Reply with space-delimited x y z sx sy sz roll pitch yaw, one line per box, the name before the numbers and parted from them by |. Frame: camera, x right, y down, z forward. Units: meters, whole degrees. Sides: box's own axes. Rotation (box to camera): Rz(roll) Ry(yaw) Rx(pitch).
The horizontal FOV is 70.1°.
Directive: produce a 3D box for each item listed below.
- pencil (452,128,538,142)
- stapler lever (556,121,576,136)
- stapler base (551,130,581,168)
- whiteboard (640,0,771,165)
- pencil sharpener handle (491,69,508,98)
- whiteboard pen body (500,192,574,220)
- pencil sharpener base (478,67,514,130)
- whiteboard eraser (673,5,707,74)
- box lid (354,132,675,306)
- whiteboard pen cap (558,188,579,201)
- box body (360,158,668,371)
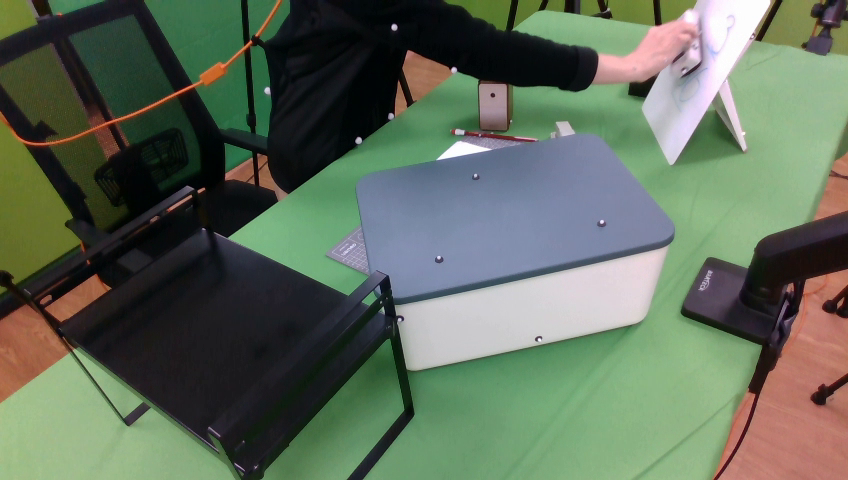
pencil | 0.146 -0.207 1.205 0.193 0.012 0.012 11 43 20
stapler lever | 0.267 -0.198 1.128 0.027 0.040 0.117 1 38 3
stapler base | 0.268 -0.178 1.142 0.041 0.024 0.130 1 37 2
whiteboard | 0.543 -0.298 1.076 0.144 0.305 0.216 12 40 -7
pencil sharpener handle | 0.156 -0.330 1.254 0.036 0.068 0.030 16 44 4
whiteboard pen body | 0.191 -0.059 1.011 0.141 0.017 0.017 -18 41 -15
pencil sharpener base | 0.148 -0.287 1.224 0.061 0.107 0.076 5 42 15
whiteboard eraser | 0.467 -0.350 1.058 0.042 0.055 0.112 13 69 -14
box lid | 0.103 -0.042 0.785 0.372 0.015 0.261 -12 41 -5
whiteboard pen cap | 0.245 -0.076 1.028 0.033 0.018 0.018 -19 42 -15
box body | 0.109 0.014 0.833 0.365 0.161 0.252 -11 41 -5
